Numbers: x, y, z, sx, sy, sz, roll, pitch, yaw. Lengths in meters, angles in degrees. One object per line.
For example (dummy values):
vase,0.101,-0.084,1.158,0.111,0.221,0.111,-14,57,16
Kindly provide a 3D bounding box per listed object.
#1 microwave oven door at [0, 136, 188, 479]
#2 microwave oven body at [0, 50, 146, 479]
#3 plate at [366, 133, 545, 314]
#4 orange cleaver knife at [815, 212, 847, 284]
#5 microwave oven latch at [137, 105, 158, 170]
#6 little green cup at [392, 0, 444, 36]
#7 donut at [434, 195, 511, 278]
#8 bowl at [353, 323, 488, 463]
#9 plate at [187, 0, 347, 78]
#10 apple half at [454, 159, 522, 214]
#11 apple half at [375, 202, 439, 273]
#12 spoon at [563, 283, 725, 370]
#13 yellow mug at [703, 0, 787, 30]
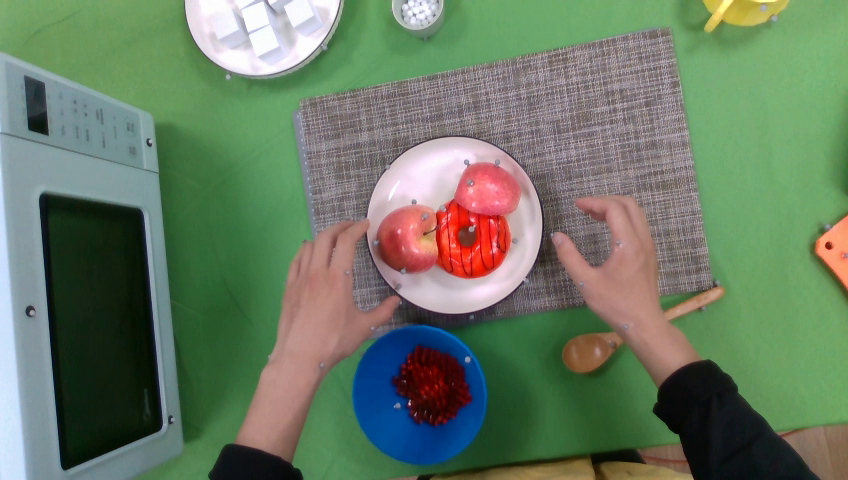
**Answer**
microwave oven door,-0.353,0.086,0.654,0.039,0.244,0.355,-7,87,10
microwave oven body,-0.499,0.062,0.686,0.325,0.261,0.441,-7,88,9
plate,0.036,-0.019,0.707,0.209,0.038,0.209,0,89,10
orange cleaver knife,0.489,0.066,0.637,0.077,0.012,0.210,-25,83,3
microwave oven latch,-0.357,-0.128,0.764,0.030,0.029,0.079,-6,88,9
little green cup,-0.004,-0.276,0.725,0.061,0.039,0.061,0,88,10
donut,0.050,-0.005,0.692,0.099,0.048,0.099,0,89,9
bowl,0.002,0.167,0.691,0.151,0.077,0.151,0,88,10
plate,-0.193,-0.303,0.759,0.207,0.039,0.207,0,88,10
apple half,0.075,-0.066,0.675,0.081,0.033,0.080,3,50,-3
apple half,-0.025,-0.003,0.686,0.074,0.054,0.080,-7,81,51
spoon,0.247,0.094,0.678,0.194,0.022,0.041,-27,69,9
yellow mug,0.346,-0.281,0.649,0.099,0.064,0.131,39,96,9
